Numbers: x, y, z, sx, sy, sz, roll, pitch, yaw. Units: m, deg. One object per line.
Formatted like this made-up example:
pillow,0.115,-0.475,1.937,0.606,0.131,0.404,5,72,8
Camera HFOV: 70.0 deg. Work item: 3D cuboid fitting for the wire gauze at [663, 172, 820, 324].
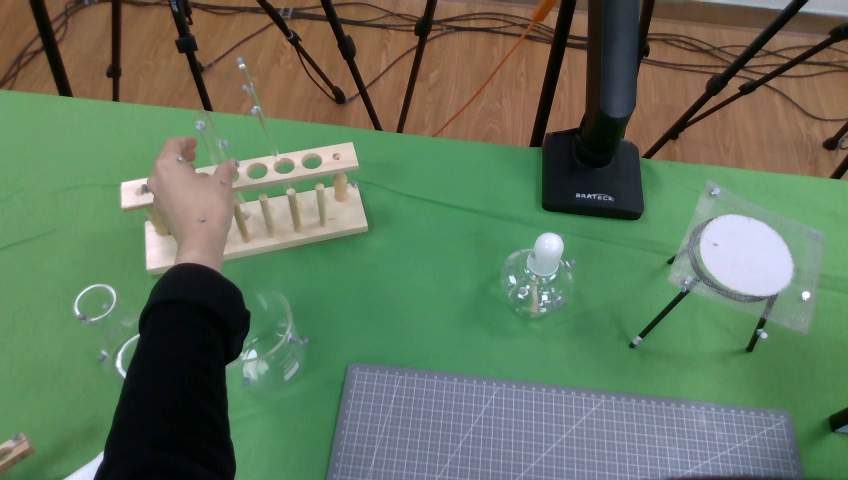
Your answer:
wire gauze,0.295,0.004,0.555,0.121,0.011,0.124,26,62,10

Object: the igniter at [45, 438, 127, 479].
igniter,-0.368,0.252,0.463,0.276,0.025,0.057,-34,68,-24

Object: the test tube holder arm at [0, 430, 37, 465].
test tube holder arm,-0.370,0.190,0.503,0.088,0.015,0.010,-32,65,-20

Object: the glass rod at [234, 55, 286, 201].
glass rod,-0.164,-0.105,0.629,0.008,0.201,0.008,-2,52,3

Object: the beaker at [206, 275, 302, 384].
beaker,-0.160,0.093,0.581,0.074,0.101,0.083,19,61,10

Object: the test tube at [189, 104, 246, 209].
test tube,-0.212,-0.082,0.632,0.017,0.151,0.017,-1,55,1

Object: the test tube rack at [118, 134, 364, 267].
test tube rack,-0.193,-0.043,0.668,0.243,0.086,0.066,-12,60,-10

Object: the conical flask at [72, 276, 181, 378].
conical flask,-0.284,0.077,0.570,0.075,0.123,0.074,1,59,-1

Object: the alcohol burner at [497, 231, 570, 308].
alcohol burner,0.117,0.023,0.627,0.078,0.120,0.077,2,58,-3

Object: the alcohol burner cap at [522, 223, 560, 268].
alcohol burner cap,0.117,0.003,0.597,0.034,0.048,0.033,2,58,-2

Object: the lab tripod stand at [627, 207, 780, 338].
lab tripod stand,0.285,0.040,0.613,0.148,0.132,0.147,2,58,-3

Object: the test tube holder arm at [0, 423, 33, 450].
test tube holder arm,-0.409,0.209,0.489,0.178,0.015,0.013,-34,66,-21
